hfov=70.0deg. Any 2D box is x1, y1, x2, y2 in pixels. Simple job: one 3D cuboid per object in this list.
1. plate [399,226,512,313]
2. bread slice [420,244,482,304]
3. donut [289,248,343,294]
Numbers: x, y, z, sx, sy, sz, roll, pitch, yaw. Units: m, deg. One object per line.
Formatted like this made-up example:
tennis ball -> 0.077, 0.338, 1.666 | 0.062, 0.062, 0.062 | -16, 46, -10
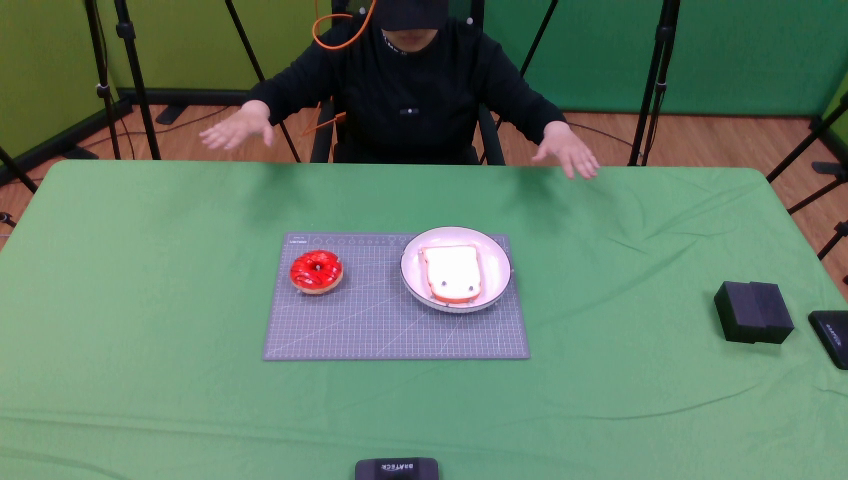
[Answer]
plate -> 0.057, 0.057, 1.134 | 0.209, 0.038, 0.208 | 2, 46, -2
bread slice -> 0.056, 0.062, 1.131 | 0.107, 0.018, 0.133 | -6, 47, -8
donut -> -0.197, 0.056, 1.111 | 0.099, 0.048, 0.098 | 1, 45, -1
